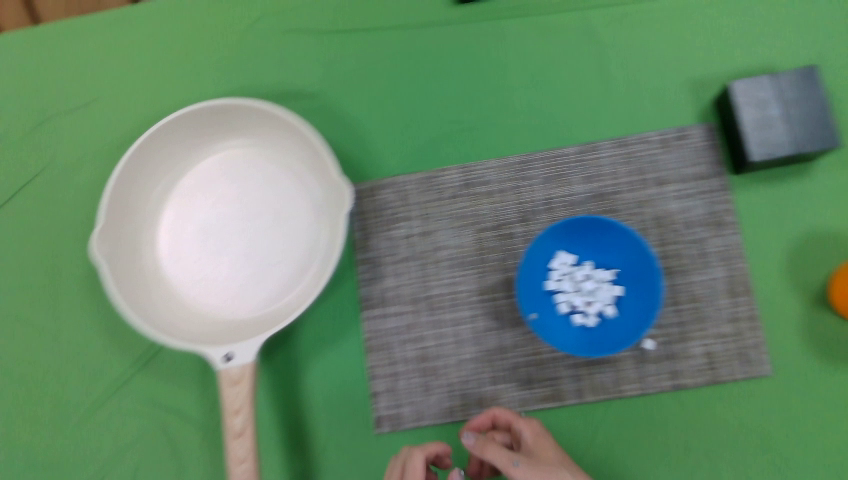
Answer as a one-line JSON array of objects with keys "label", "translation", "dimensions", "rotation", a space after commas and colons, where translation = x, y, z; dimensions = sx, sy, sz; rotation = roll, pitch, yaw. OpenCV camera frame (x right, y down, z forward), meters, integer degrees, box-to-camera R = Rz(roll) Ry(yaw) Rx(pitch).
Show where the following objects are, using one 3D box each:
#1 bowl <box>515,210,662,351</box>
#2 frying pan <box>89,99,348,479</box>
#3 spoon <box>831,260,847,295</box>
[{"label": "bowl", "translation": [0.175, 0.048, 0.669], "dimensions": [0.151, 0.077, 0.151], "rotation": [-1, 80, 5]}, {"label": "frying pan", "translation": [-0.216, 0.077, 0.687], "dimensions": [0.307, 0.103, 0.484], "rotation": [-11, 71, 3]}, {"label": "spoon", "translation": [0.525, 0.031, 0.612], "dimensions": [0.022, 0.193, 0.041], "rotation": [9, 76, -39]}]
